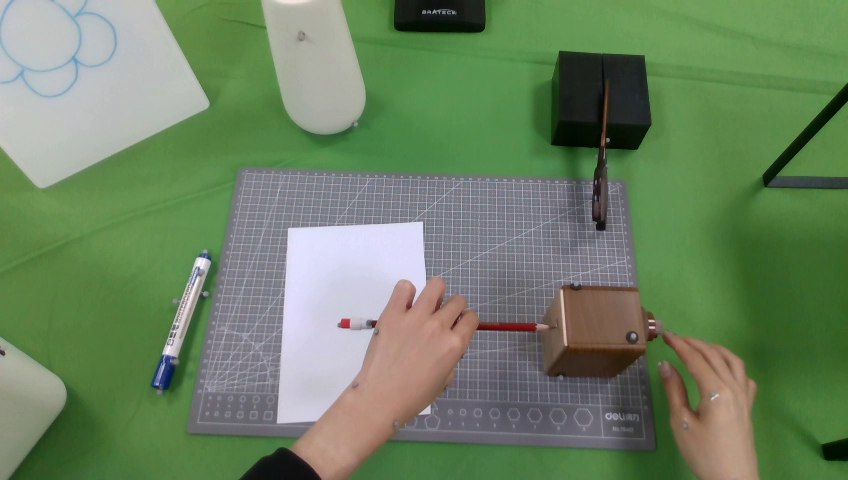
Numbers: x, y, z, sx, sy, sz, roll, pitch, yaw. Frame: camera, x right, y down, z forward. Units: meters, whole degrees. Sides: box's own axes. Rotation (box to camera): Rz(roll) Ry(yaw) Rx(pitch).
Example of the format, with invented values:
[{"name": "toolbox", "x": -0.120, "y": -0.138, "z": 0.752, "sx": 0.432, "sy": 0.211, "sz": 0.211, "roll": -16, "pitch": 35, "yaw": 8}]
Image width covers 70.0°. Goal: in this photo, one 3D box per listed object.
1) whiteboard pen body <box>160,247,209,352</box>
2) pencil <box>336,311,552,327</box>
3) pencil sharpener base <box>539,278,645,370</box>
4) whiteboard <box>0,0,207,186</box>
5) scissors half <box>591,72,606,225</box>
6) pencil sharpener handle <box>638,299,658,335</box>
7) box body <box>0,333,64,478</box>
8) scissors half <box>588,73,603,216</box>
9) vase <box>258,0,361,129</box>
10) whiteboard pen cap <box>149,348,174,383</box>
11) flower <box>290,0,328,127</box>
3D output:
[{"name": "whiteboard pen body", "x": -0.250, "y": 0.071, "z": 0.625, "sx": 0.017, "sy": 0.017, "sz": 0.140, "roll": 8, "pitch": 64, "yaw": 4}, {"name": "pencil", "x": 0.018, "y": 0.072, "z": 0.542, "sx": 0.194, "sy": 0.012, "sz": 0.012, "roll": 2, "pitch": 65, "yaw": 0}, {"name": "pencil sharpener base", "x": 0.155, "y": 0.082, "z": 0.572, "sx": 0.077, "sy": 0.108, "sz": 0.061, "roll": 1, "pitch": 65, "yaw": 0}, {"name": "whiteboard", "x": -0.417, "y": -0.254, "z": 0.647, "sx": 0.217, "sy": 0.308, "sz": 0.142, "roll": -30, "pitch": 50, "yaw": -13}, {"name": "scissors half", "x": 0.197, "y": -0.103, "z": 0.674, "sx": 0.012, "sy": 0.040, "sz": 0.175, "roll": 1, "pitch": 84, "yaw": 26}, {"name": "pencil sharpener handle", "x": 0.206, "y": 0.075, "z": 0.562, "sx": 0.030, "sy": 0.068, "sz": 0.036, "roll": 1, "pitch": 75, "yaw": 0}, {"name": "box body", "x": -0.548, "y": 0.128, "z": 0.519, "sx": 0.363, "sy": 0.161, "sz": 0.253, "roll": 27, "pitch": 69, "yaw": 11}, {"name": "scissors half", "x": 0.189, "y": -0.108, "z": 0.656, "sx": 0.013, "sy": 0.040, "sz": 0.174, "roll": 2, "pitch": 67, "yaw": 21}, {"name": "vase", "x": -0.124, "y": -0.210, "z": 0.654, "sx": 0.098, "sy": 0.201, "sz": 0.097, "roll": 0, "pitch": 64, "yaw": 1}, {"name": "whiteboard pen cap", "x": -0.258, "y": 0.123, "z": 0.600, "sx": 0.018, "sy": 0.018, "sz": 0.033, "roll": 8, "pitch": 61, "yaw": 4}, {"name": "flower", "x": -0.131, "y": -0.257, "z": 0.584, "sx": 0.044, "sy": 0.365, "sz": 0.038, "roll": -5, "pitch": 48, "yaw": 1}]
